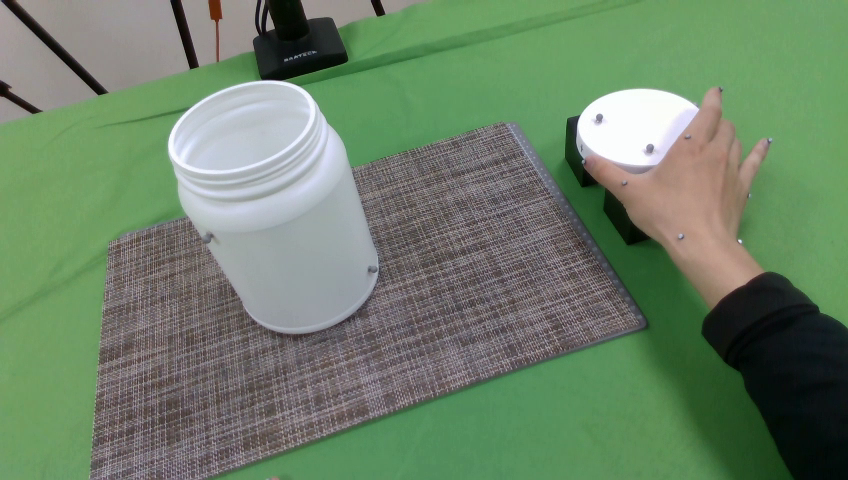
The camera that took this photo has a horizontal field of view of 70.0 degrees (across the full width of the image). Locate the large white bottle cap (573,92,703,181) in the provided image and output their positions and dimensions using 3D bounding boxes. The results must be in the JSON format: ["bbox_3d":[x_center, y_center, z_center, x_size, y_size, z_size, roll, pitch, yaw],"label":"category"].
[{"bbox_3d":[0.198,-0.099,0.563,0.115,0.018,0.113,-5,48,6],"label":"large white bottle cap"}]

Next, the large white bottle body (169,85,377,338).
[{"bbox_3d":[-0.118,-0.019,0.501,0.130,0.186,0.129,-5,48,6],"label":"large white bottle body"}]
